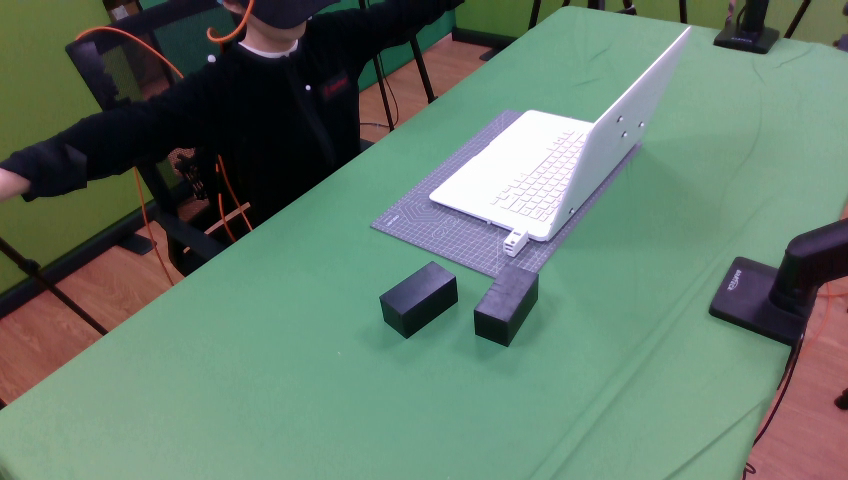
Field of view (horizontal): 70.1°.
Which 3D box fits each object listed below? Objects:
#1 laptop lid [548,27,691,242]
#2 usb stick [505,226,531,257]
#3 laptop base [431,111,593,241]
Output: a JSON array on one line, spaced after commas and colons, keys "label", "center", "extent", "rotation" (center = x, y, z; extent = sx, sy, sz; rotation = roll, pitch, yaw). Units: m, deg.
[{"label": "laptop lid", "center": [0.310, -0.168, 0.950], "extent": [0.013, 0.242, 0.358], "rotation": [33, 52, 20]}, {"label": "usb stick", "center": [0.150, -0.002, 0.940], "extent": [0.021, 0.027, 0.059], "rotation": [22, 46, 31]}, {"label": "laptop base", "center": [0.207, -0.129, 1.100], "extent": [0.233, 0.023, 0.355], "rotation": [20, 47, 33]}]
